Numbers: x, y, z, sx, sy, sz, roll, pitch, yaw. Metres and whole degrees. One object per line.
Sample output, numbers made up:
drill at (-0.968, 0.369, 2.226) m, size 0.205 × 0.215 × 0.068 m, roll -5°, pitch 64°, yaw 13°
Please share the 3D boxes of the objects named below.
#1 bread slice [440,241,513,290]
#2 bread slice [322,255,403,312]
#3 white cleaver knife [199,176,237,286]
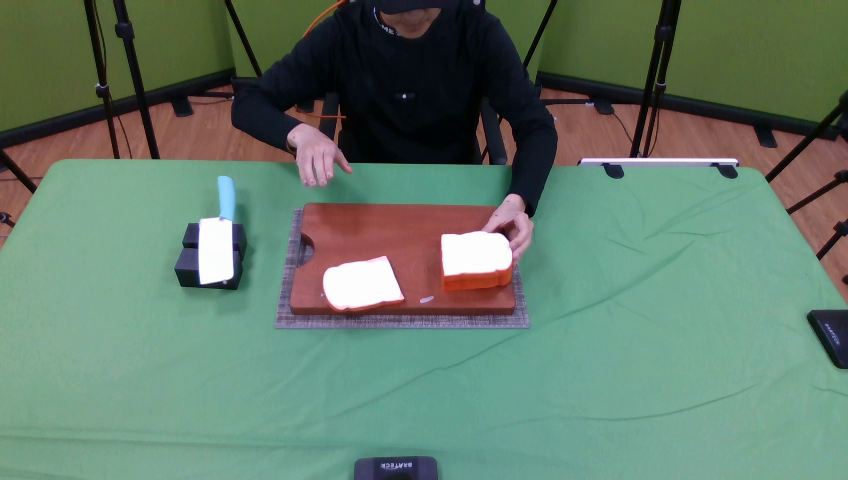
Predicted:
bread slice at (0.096, 0.046, 1.117) m, size 0.134 × 0.018 × 0.106 m, roll 0°, pitch 49°, yaw 3°
bread slice at (-0.114, 0.079, 1.068) m, size 0.132 × 0.019 × 0.104 m, roll -10°, pitch 51°, yaw -18°
white cleaver knife at (-0.386, -0.026, 1.134) m, size 0.066 × 0.021 × 0.284 m, roll -6°, pitch 45°, yaw -10°
